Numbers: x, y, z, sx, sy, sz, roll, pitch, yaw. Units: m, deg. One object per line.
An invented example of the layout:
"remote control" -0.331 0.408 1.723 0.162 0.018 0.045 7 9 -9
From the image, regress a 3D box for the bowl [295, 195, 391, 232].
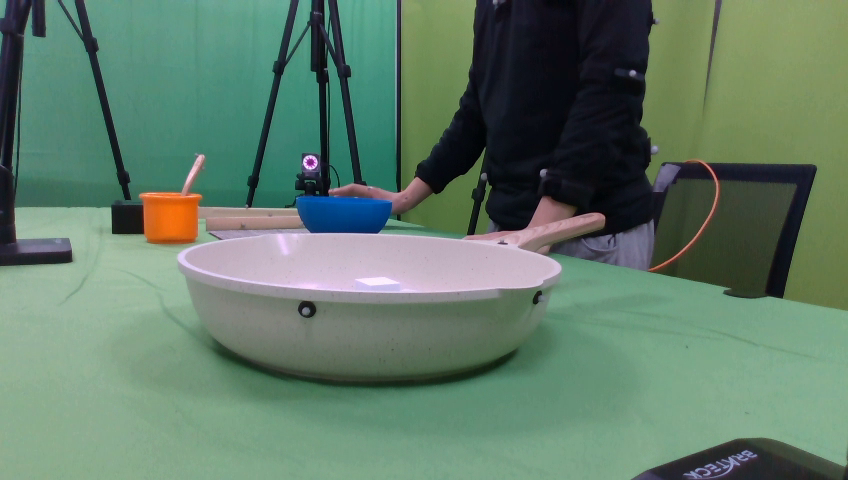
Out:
"bowl" -0.127 -0.027 0.946 0.151 0.077 0.151 2 7 0

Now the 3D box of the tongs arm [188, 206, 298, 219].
"tongs arm" -0.301 -0.055 1.308 0.387 0.026 0.050 -1 9 -29

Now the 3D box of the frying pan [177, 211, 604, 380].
"frying pan" 0.034 0.019 0.556 0.490 0.102 0.305 -15 18 -42

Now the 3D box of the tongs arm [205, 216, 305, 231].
"tongs arm" -0.257 -0.039 1.241 0.390 0.028 0.028 -4 8 -42

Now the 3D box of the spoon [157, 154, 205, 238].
"spoon" -0.392 -0.076 0.998 0.041 0.193 0.021 1 -36 6
